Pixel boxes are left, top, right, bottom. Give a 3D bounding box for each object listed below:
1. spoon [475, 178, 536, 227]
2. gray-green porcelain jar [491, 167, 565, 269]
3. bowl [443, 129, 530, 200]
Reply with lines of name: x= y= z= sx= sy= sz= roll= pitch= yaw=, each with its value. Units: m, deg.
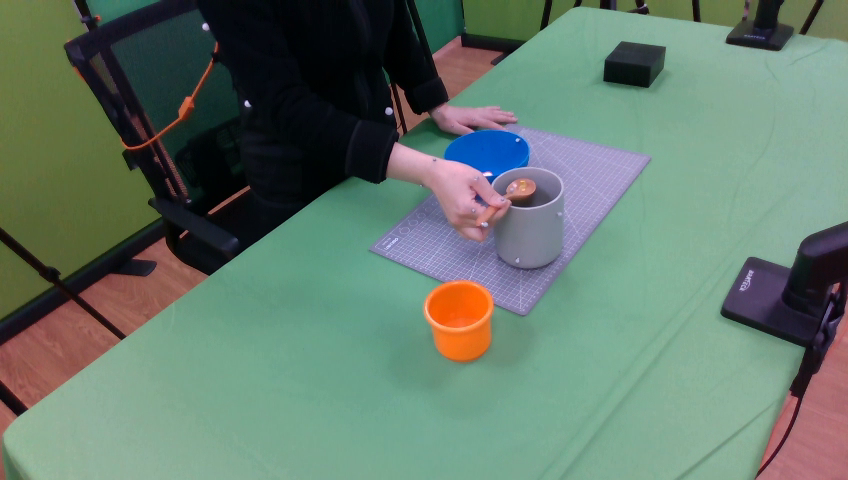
spoon: x=0.109 y=-0.054 z=0.826 sx=0.041 sy=0.021 sz=0.194 roll=17 pitch=25 yaw=23
gray-green porcelain jar: x=0.157 y=-0.029 z=0.904 sx=0.106 sy=0.127 sz=0.105 roll=-6 pitch=40 yaw=5
bowl: x=0.113 y=-0.123 z=1.063 sx=0.151 sy=0.077 sz=0.150 roll=-6 pitch=40 yaw=5
